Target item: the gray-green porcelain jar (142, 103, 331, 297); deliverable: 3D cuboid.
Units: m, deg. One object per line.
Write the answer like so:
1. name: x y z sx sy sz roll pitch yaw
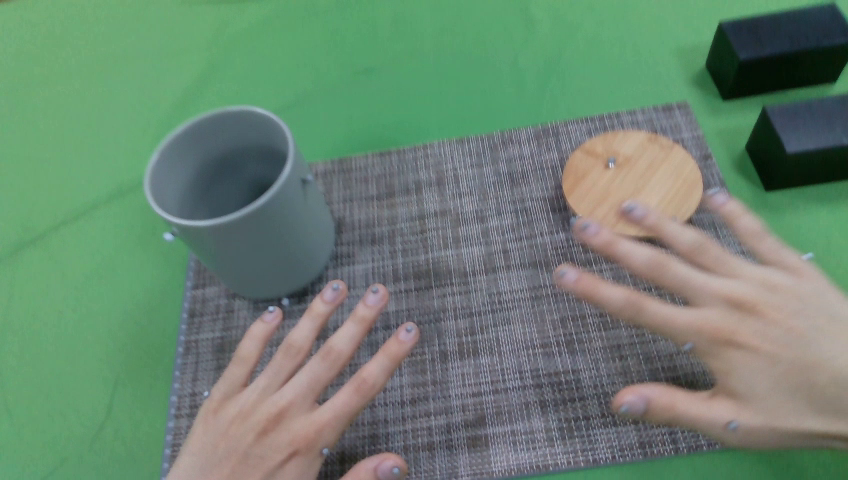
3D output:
1. gray-green porcelain jar: -0.133 -0.023 0.464 0.106 0.128 0.105 -4 58 7

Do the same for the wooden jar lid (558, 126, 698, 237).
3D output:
1. wooden jar lid: 0.165 -0.047 0.495 0.108 0.021 0.107 -4 60 7
